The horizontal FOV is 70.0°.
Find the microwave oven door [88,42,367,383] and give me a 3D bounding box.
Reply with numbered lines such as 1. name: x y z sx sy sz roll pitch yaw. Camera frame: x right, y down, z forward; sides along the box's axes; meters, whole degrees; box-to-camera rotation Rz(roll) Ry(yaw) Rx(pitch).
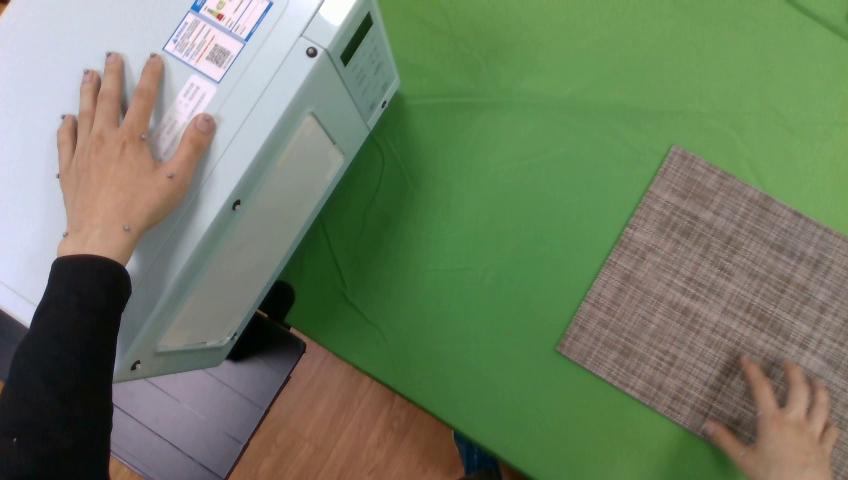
1. microwave oven door: -0.188 -0.015 0.656 0.039 0.244 0.355 31 86 8

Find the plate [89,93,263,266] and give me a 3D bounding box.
1. plate: -0.294 -0.071 0.733 0.209 0.038 0.208 0 85 2

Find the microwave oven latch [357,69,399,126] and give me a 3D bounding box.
1. microwave oven latch: -0.063 -0.186 0.770 0.030 0.029 0.079 33 87 7

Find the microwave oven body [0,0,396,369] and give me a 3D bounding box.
1. microwave oven body: -0.289 -0.125 0.681 0.325 0.261 0.441 31 87 7
